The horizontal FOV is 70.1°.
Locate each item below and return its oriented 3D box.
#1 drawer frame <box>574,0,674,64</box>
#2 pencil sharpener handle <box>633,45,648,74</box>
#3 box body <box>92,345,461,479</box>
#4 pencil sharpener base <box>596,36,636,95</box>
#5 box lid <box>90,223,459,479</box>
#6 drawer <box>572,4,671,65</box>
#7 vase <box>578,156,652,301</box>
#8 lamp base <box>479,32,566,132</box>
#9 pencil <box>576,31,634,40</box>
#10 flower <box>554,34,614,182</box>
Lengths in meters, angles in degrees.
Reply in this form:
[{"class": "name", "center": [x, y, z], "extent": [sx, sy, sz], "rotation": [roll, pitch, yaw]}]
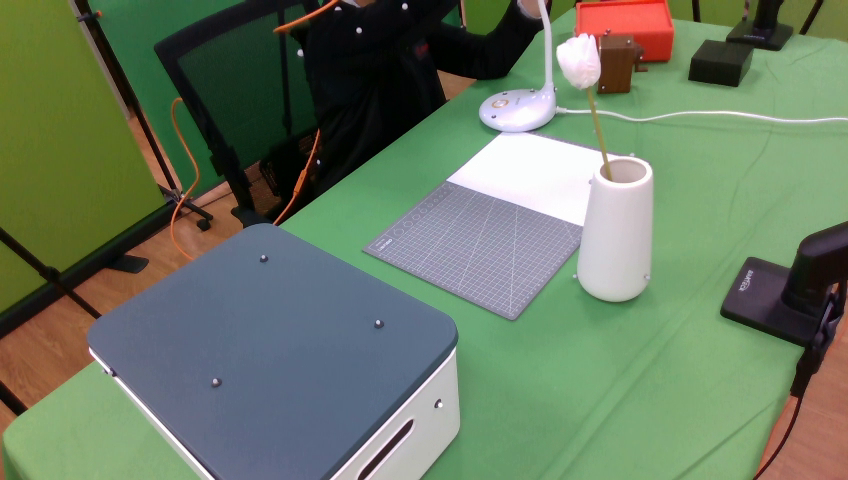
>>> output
[{"class": "drawer frame", "center": [0.464, -0.492, 1.434], "extent": [0.213, 0.083, 0.201], "rotation": [1, 40, 12]}, {"class": "pencil sharpener handle", "center": [0.454, -0.378, 1.262], "extent": [0.030, 0.068, 0.036], "rotation": [1, 47, 13]}, {"class": "box body", "center": [-0.162, 0.170, 0.708], "extent": [0.361, 0.161, 0.255], "rotation": [25, 50, 34]}, {"class": "pencil sharpener base", "center": [0.406, -0.369, 1.280], "extent": [0.076, 0.107, 0.061], "rotation": [1, 41, 13]}, {"class": "box lid", "center": [-0.174, 0.102, 0.666], "extent": [0.368, 0.015, 0.264], "rotation": [24, 48, 35]}, {"class": "drawer", "center": [0.461, -0.490, 1.435], "extent": [0.211, 0.073, 0.194], "rotation": [2, 40, 12]}, {"class": "vase", "center": [0.261, -0.011, 0.812], "extent": [0.098, 0.201, 0.097], "rotation": [-4, 40, 4]}, {"class": "lamp base", "center": [0.200, -0.332, 1.219], "extent": [0.179, 0.181, 0.160], "rotation": [1, 40, 7]}, {"class": "pencil", "center": [0.430, -0.488, 1.443], "extent": [0.012, 0.012, 0.192], "rotation": [-25, 30, -18]}, {"class": "flower", "center": [0.237, -0.083, 0.774], "extent": [0.044, 0.363, 0.038], "rotation": [-22, 26, 6]}]
